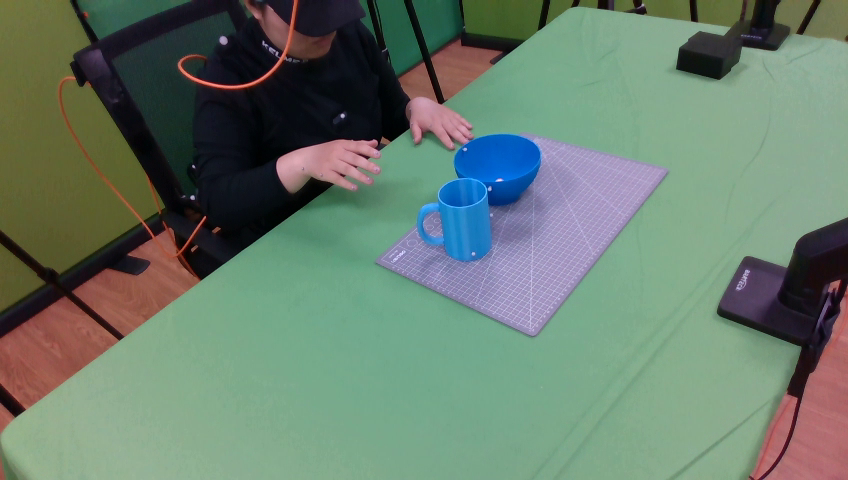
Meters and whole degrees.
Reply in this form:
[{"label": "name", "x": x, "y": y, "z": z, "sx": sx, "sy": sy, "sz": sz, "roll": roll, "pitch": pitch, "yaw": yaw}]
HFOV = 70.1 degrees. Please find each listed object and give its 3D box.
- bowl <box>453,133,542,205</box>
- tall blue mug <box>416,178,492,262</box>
[{"label": "bowl", "x": 0.129, "y": -0.112, "z": 1.045, "sx": 0.151, "sy": 0.077, "sz": 0.150, "roll": -5, "pitch": 40, "yaw": 5}, {"label": "tall blue mug", "x": 0.051, "y": -0.025, "z": 0.931, "sx": 0.107, "sy": 0.108, "sz": 0.077, "roll": -27, "pitch": 44, "yaw": -20}]
